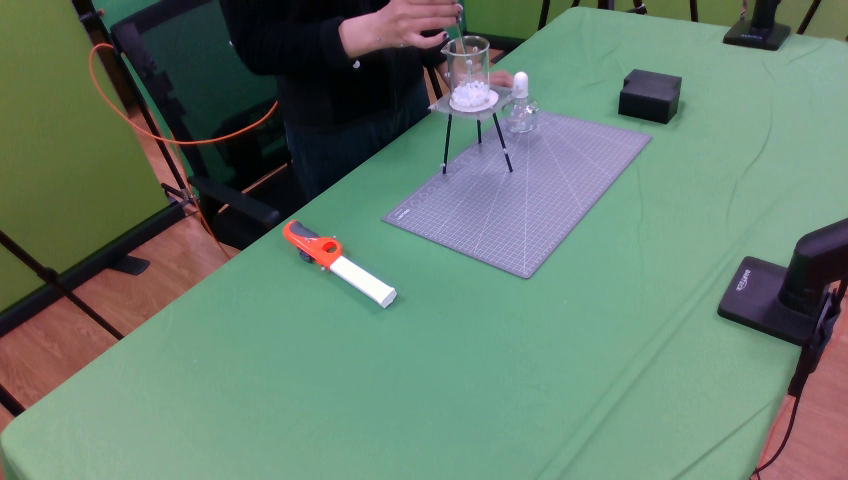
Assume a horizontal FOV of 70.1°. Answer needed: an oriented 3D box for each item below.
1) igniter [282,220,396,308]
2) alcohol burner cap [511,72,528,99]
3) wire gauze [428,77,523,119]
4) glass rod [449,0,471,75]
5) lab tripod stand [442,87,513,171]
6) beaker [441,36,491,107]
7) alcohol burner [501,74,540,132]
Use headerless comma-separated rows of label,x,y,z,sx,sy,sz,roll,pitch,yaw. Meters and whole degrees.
igniter,-0.146,0.032,0.966,0.274,0.025,0.057,30,64,37
alcohol burner cap,0.185,-0.302,1.171,0.034,0.048,0.033,-2,42,2
wire gauze,0.090,-0.249,1.063,0.120,0.011,0.125,24,48,30
glass rod,0.049,-0.343,0.942,0.008,0.201,0.008,-11,45,11
lab tripod stand,0.097,-0.200,1.108,0.148,0.132,0.147,-4,40,4
beaker,0.074,-0.286,1.036,0.084,0.101,0.073,-1,41,8
alcohol burner,0.191,-0.275,1.194,0.078,0.119,0.077,-4,42,4
